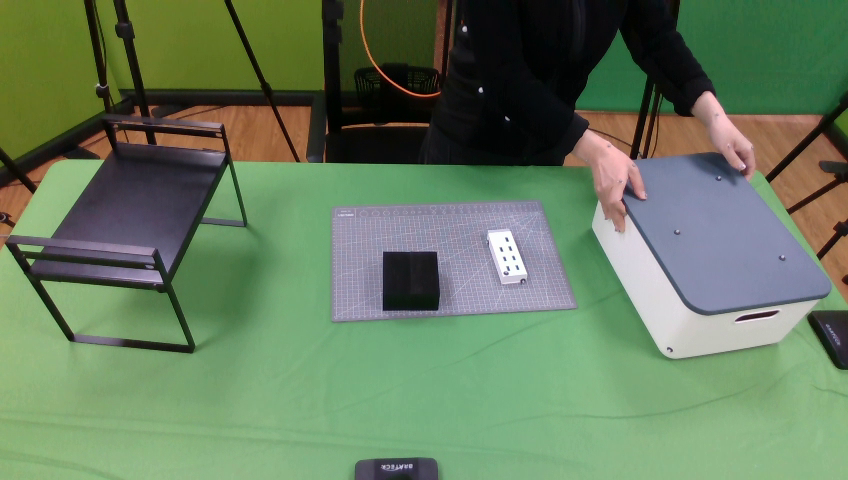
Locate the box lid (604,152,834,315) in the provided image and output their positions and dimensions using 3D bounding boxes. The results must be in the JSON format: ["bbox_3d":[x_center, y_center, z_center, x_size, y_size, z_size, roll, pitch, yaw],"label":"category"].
[{"bbox_3d":[0.499,-0.030,1.061,0.264,0.015,0.369,-6,47,-10],"label":"box lid"}]

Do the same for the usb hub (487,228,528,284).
[{"bbox_3d":[0.159,0.030,1.173,0.049,0.025,0.124,-5,46,-9],"label":"usb hub"}]

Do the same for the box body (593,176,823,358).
[{"bbox_3d":[0.496,0.022,1.113,0.254,0.161,0.361,-7,47,-10],"label":"box body"}]
